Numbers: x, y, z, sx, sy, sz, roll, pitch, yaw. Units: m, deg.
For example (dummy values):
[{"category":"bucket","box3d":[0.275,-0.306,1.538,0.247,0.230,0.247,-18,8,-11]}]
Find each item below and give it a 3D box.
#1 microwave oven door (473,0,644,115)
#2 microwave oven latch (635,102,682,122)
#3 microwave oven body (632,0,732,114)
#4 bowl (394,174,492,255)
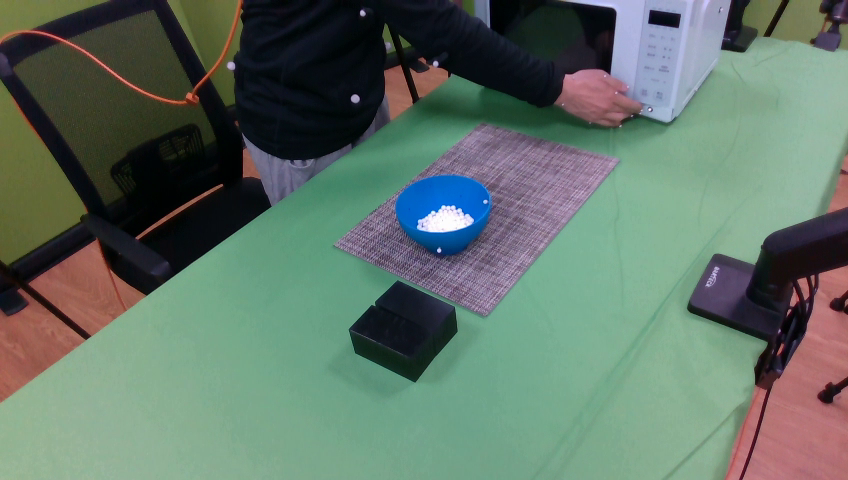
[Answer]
[{"category":"microwave oven door","box3d":[0.257,-0.396,1.199,0.353,0.245,0.039,21,48,29]},{"category":"microwave oven latch","box3d":[0.448,-0.251,1.159,0.078,0.029,0.030,30,54,36]},{"category":"microwave oven body","box3d":[0.377,-0.463,1.267,0.438,0.261,0.327,21,49,30]},{"category":"bowl","box3d":[0.032,-0.030,0.949,0.151,0.077,0.150,-4,40,4]}]
